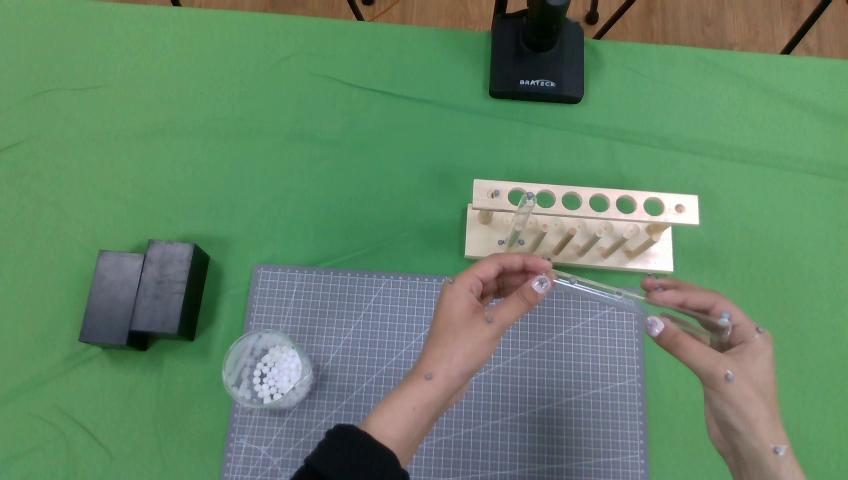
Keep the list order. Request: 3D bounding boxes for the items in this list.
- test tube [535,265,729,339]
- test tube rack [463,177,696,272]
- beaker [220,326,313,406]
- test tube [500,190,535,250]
[{"bbox_3d":[0.159,0.047,0.475,0.149,0.017,0.017,17,72,20],"label":"test tube"},{"bbox_3d":[0.169,-0.016,0.686,0.242,0.085,0.066,4,72,0],"label":"test tube rack"},{"bbox_3d":[-0.153,0.133,0.620,0.084,0.101,0.073,4,73,-1],"label":"beaker"},{"bbox_3d":[0.097,-0.018,0.638,0.017,0.151,0.017,0,72,0],"label":"test tube"}]
